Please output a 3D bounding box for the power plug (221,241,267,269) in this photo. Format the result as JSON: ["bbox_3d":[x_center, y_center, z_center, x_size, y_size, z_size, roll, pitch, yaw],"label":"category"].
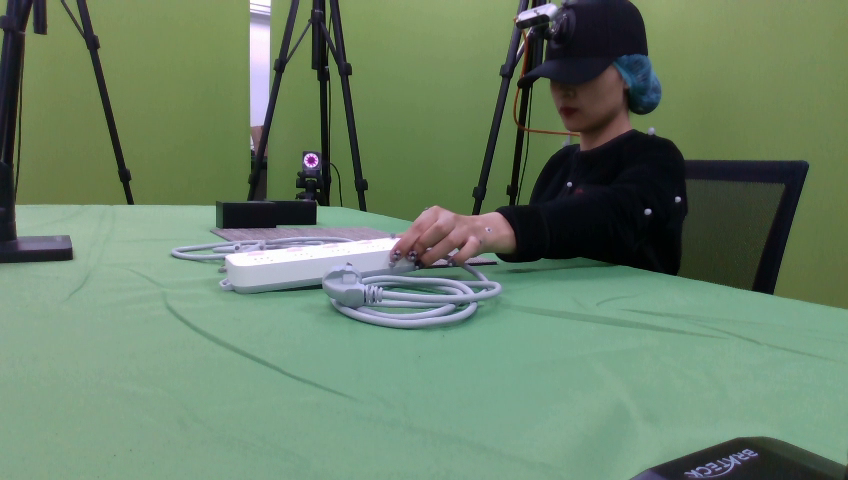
[{"bbox_3d":[-0.217,0.024,0.737,0.053,0.035,0.072,-23,-5,-10],"label":"power plug"}]

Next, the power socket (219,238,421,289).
[{"bbox_3d":[-0.109,0.023,0.670,0.228,0.032,0.072,-6,6,-26],"label":"power socket"}]
